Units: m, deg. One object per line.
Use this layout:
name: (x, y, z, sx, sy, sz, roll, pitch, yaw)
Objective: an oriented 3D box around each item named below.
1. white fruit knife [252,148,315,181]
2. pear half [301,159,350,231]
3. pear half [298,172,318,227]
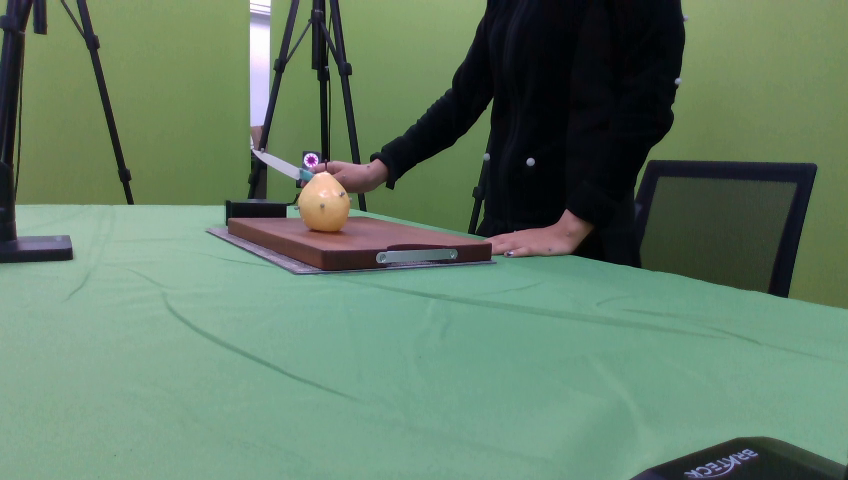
white fruit knife: (-0.244, -0.131, 1.194, 0.208, 0.027, 0.016, 26, 3, -31)
pear half: (-0.143, -0.068, 0.916, 0.055, 0.110, 0.077, 8, 13, 34)
pear half: (-0.172, -0.062, 0.938, 0.031, 0.088, 0.071, 8, 14, 34)
